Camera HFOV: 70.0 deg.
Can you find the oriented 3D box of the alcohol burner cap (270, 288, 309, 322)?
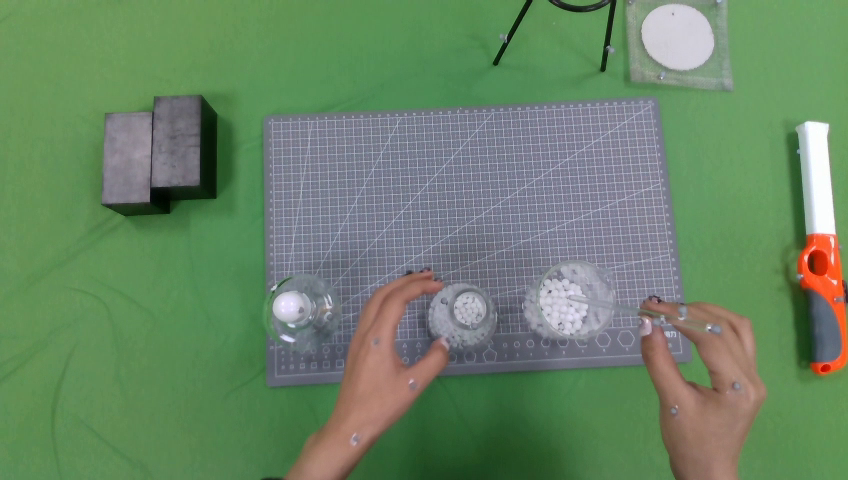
[{"bbox_3d":[-0.125,0.059,0.558,0.034,0.048,0.034,1,83,-4],"label":"alcohol burner cap"}]

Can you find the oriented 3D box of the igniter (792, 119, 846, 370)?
[{"bbox_3d":[0.428,0.002,0.660,0.057,0.025,0.275,4,80,-11],"label":"igniter"}]

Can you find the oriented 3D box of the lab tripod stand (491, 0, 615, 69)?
[{"bbox_3d":[0.144,-0.249,0.647,0.148,0.132,0.148,0,82,0],"label":"lab tripod stand"}]

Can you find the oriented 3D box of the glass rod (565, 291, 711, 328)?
[{"bbox_3d":[0.156,0.051,0.474,0.008,0.199,0.008,0,91,-12],"label":"glass rod"}]

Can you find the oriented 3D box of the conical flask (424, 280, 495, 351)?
[{"bbox_3d":[0.038,0.070,0.591,0.075,0.122,0.075,0,79,0],"label":"conical flask"}]

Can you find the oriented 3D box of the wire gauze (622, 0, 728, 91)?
[{"bbox_3d":[0.295,-0.237,0.711,0.125,0.011,0.121,3,80,-2],"label":"wire gauze"}]

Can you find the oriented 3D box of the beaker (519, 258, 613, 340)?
[{"bbox_3d":[0.139,0.060,0.607,0.084,0.100,0.074,-36,82,-7],"label":"beaker"}]

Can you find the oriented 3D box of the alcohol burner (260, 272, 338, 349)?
[{"bbox_3d":[-0.126,0.067,0.593,0.078,0.119,0.077,0,79,2],"label":"alcohol burner"}]
